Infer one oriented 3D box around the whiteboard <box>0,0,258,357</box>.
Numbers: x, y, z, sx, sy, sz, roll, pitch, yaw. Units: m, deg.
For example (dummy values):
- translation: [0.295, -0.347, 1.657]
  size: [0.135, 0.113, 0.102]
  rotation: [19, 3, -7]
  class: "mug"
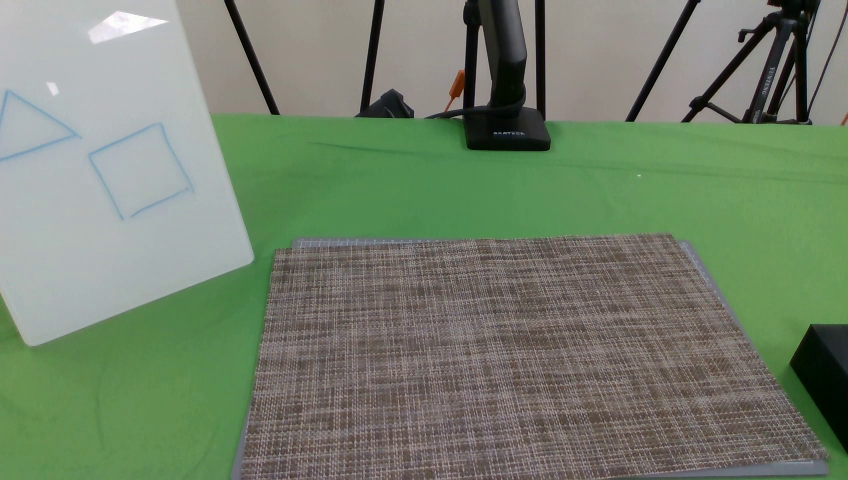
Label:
- translation: [-0.326, -0.086, 0.587]
  size: [0.217, 0.307, 0.142]
  rotation: [-23, 24, -29]
  class: "whiteboard"
